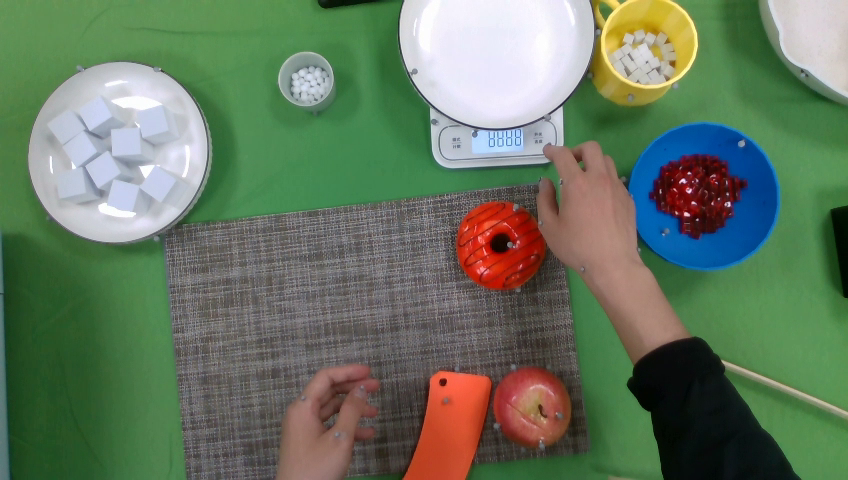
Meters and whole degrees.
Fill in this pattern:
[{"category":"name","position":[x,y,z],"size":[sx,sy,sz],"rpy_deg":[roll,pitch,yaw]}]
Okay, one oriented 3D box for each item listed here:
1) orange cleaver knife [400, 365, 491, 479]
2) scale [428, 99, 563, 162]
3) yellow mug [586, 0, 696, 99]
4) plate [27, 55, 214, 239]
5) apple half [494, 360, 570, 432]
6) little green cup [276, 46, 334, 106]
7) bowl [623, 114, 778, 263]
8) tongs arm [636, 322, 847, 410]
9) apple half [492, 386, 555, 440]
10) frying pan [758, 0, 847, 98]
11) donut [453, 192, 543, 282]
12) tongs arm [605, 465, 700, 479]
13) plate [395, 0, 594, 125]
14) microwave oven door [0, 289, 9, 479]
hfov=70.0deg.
[{"category":"orange cleaver knife","position":[0.011,0.234,0.664],"size":[0.077,0.012,0.211],"rpy_deg":[22,86,-3]},{"category":"scale","position":[0.077,-0.192,0.679],"size":[0.148,0.031,0.200],"rpy_deg":[-3,88,3]},{"category":"yellow mug","position":[0.222,-0.223,0.657],"size":[0.100,0.064,0.130],"rpy_deg":[-39,86,1]},{"category":"plate","position":[-0.338,-0.103,0.688],"size":[0.207,0.039,0.207],"rpy_deg":[0,87,2]},{"category":"apple half","position":[0.120,0.155,0.637],"size":[0.080,0.075,0.053],"rpy_deg":[35,85,8]},{"category":"little green cup","position":[-0.131,-0.182,0.683],"size":[0.061,0.039,0.061],"rpy_deg":[0,87,3]},{"category":"bowl","position":[0.278,-0.049,0.642],"size":[0.151,0.077,0.151],"rpy_deg":[0,88,3]},{"category":"tongs arm","position":[0.411,0.170,0.652],"size":[0.387,0.028,0.028],"rpy_deg":[23,80,3]},{"category":"apple half","position":[0.097,0.187,0.635],"size":[0.081,0.081,0.033],"rpy_deg":[37,85,4]},{"category":"frying pan","position":[0.551,-0.196,0.624],"size":[0.307,0.103,0.485],"rpy_deg":[-34,79,1]},{"category":"donut","position":[0.080,-0.003,0.660],"size":[0.099,0.048,0.099],"rpy_deg":[0,88,4]},{"category":"tongs arm","position":[0.390,0.254,0.645],"size":[0.385,0.026,0.050],"rpy_deg":[9,83,2]},{"category":"plate","position":[0.074,-0.224,0.648],"size":[0.209,0.038,0.209],"rpy_deg":[0,87,2]},{"category":"microwave oven door","position":[-0.484,0.224,0.558],"size":[0.039,0.244,0.355],"rpy_deg":[-5,87,2]}]
